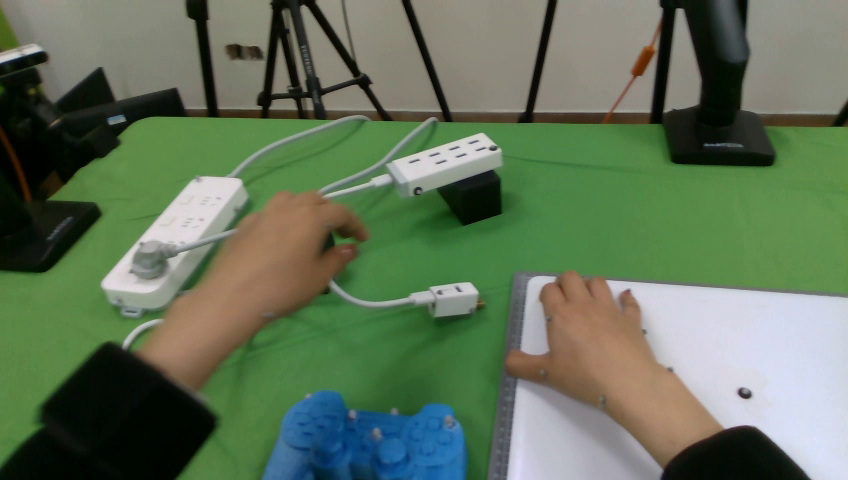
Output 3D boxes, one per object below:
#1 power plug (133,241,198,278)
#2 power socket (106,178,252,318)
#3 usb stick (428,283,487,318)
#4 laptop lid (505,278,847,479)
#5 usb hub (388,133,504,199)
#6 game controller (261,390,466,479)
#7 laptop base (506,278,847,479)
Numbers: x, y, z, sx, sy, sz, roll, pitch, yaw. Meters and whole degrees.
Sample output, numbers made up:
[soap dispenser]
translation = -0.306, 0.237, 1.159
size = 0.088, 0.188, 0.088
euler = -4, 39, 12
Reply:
[power plug]
translation = -0.267, 0.029, 0.626
size = 0.072, 0.053, 0.035
euler = 15, 43, 20
[power socket]
translation = -0.276, -0.002, 0.703
size = 0.072, 0.033, 0.225
euler = 6, 41, 14
[usb stick]
translation = 0.035, 0.058, 0.587
size = 0.059, 0.027, 0.021
euler = -1, 25, -24
[laptop lid]
translation = 0.250, 0.123, 0.472
size = 0.355, 0.013, 0.240
euler = 5, 43, 14
[usb hub]
translation = 0.026, -0.084, 0.689
size = 0.125, 0.025, 0.049
euler = -20, 42, -14
[game controller]
translation = -0.043, 0.163, 0.461
size = 0.155, 0.052, 0.096
euler = 5, 37, 13
[laptop base]
translation = 0.251, 0.131, 0.481
size = 0.353, 0.023, 0.233
euler = 4, 44, 12
